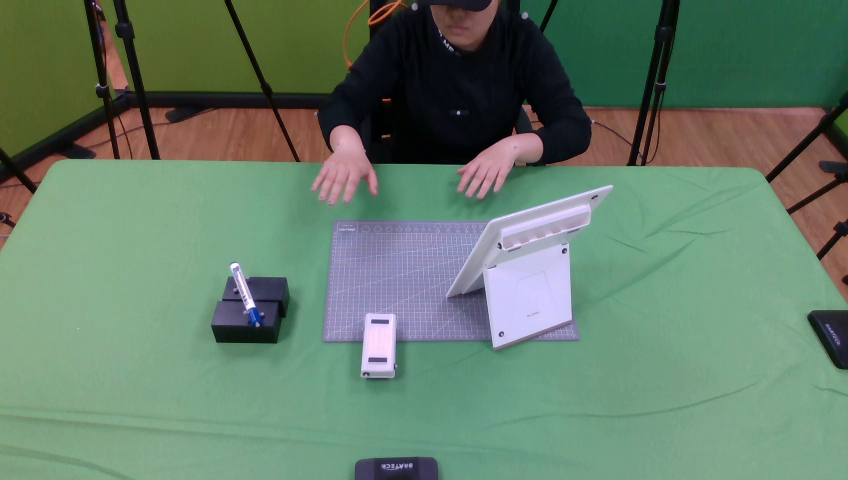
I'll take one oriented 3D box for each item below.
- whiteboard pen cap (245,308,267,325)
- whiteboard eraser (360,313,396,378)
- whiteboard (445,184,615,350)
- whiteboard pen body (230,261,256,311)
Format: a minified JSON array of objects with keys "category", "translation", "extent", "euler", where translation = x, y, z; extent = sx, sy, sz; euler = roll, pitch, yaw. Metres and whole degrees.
[{"category":"whiteboard pen cap","translation":[-0.273,0.126,0.987],"extent":[0.033,0.018,0.018],"euler":[30,49,0]},{"category":"whiteboard eraser","translation":[-0.075,0.176,1.006],"extent":[0.055,0.042,0.112],"euler":[3,50,-4]},{"category":"whiteboard","translation":[0.186,0.065,0.989],"extent":[0.217,0.306,0.143],"euler":[-15,68,-18]},{"category":"whiteboard pen body","translation":[-0.304,0.086,1.025],"extent":[0.017,0.017,0.140],"euler":[-18,50,-20]}]
